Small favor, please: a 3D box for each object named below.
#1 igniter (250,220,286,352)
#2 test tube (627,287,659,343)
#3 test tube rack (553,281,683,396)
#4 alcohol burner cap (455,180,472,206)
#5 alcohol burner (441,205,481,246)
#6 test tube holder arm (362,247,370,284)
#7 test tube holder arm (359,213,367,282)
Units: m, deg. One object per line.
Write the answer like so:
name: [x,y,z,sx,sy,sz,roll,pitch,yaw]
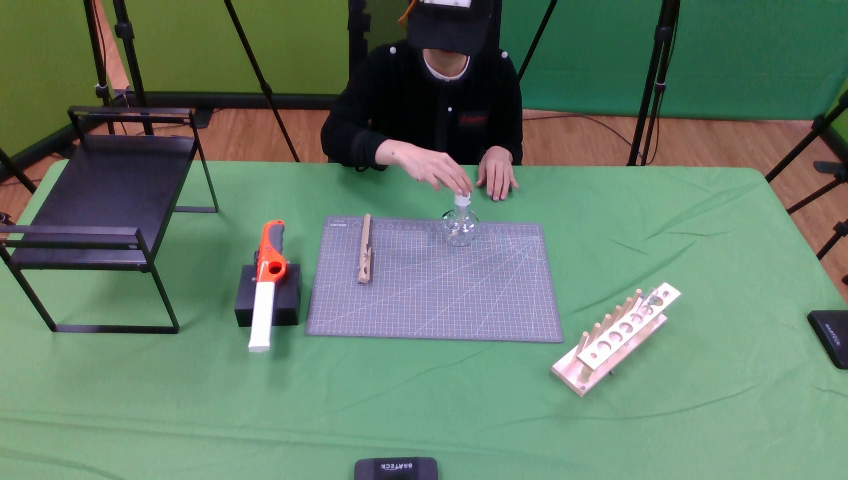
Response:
igniter: [-0.269,0.068,1.042,0.057,0.025,0.274,0,48,-7]
test tube: [0.351,0.125,0.983,0.017,0.151,0.017,1,50,-1]
test tube rack: [0.329,0.153,1.022,0.242,0.085,0.066,-30,54,-28]
alcohol burner cap: [0.075,-0.090,1.129,0.034,0.048,0.033,-1,42,1]
alcohol burner: [0.073,-0.046,1.176,0.078,0.119,0.077,2,44,-2]
test tube holder arm: [-0.110,0.046,1.144,0.010,0.015,0.087,29,36,-29]
test tube holder arm: [-0.117,0.011,1.172,0.013,0.015,0.177,28,37,-30]
